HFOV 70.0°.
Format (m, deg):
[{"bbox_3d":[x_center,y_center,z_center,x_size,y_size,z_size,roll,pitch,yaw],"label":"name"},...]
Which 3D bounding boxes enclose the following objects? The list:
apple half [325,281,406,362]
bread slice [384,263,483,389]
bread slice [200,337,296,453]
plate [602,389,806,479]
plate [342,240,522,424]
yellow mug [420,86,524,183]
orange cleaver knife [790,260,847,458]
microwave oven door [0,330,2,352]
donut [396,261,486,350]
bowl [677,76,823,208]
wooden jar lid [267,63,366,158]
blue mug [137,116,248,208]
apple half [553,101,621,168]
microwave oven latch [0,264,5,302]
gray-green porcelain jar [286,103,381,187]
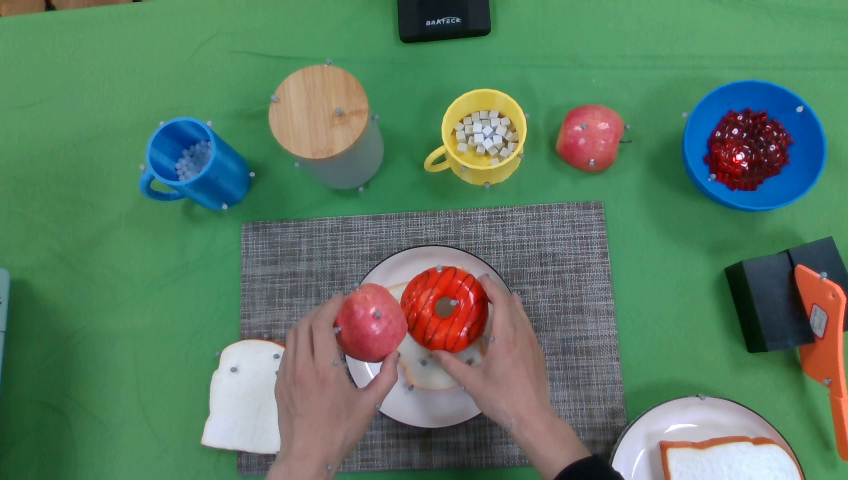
[{"bbox_3d":[-0.057,0.082,0.591,0.081,0.033,0.081,0,89,2],"label":"apple half"},{"bbox_3d":[0.013,0.103,0.701,0.107,0.018,0.133,-19,80,2],"label":"bread slice"},{"bbox_3d":[-0.206,0.180,0.716,0.105,0.019,0.131,4,80,5],"label":"bread slice"},{"bbox_3d":[0.295,0.266,0.650,0.209,0.038,0.208,-1,79,5],"label":"plate"},{"bbox_3d":[0.008,0.104,0.702,0.207,0.039,0.206,-1,79,5],"label":"plate"},{"bbox_3d":[0.054,-0.119,0.730,0.131,0.064,0.099,-27,78,0],"label":"yellow mug"},{"bbox_3d":[0.422,0.125,0.644,0.012,0.077,0.212,-14,100,-5],"label":"orange cleaver knife"},{"bbox_3d":[-0.538,0.260,0.598,0.039,0.245,0.354,-4,78,5],"label":"microwave oven door"},{"bbox_3d":[0.019,0.072,0.661,0.099,0.048,0.098,0,78,-1],"label":"donut"},{"bbox_3d":[0.358,-0.102,0.695,0.151,0.077,0.150,-1,79,5],"label":"bowl"},{"bbox_3d":[-0.115,-0.138,0.654,0.108,0.021,0.108,-1,77,5],"label":"wooden jar lid"},{"bbox_3d":[-0.286,-0.083,0.732,0.116,0.106,0.082,-29,77,-1],"label":"blue mug"},{"bbox_3d":[0.197,-0.132,0.728,0.074,0.053,0.080,19,82,11],"label":"apple half"},{"bbox_3d":[-0.536,0.066,0.739,0.030,0.029,0.079,1,80,5],"label":"microwave oven latch"},{"bbox_3d":[-0.109,-0.124,0.715,0.106,0.127,0.105,-1,78,5],"label":"gray-green porcelain jar"}]
